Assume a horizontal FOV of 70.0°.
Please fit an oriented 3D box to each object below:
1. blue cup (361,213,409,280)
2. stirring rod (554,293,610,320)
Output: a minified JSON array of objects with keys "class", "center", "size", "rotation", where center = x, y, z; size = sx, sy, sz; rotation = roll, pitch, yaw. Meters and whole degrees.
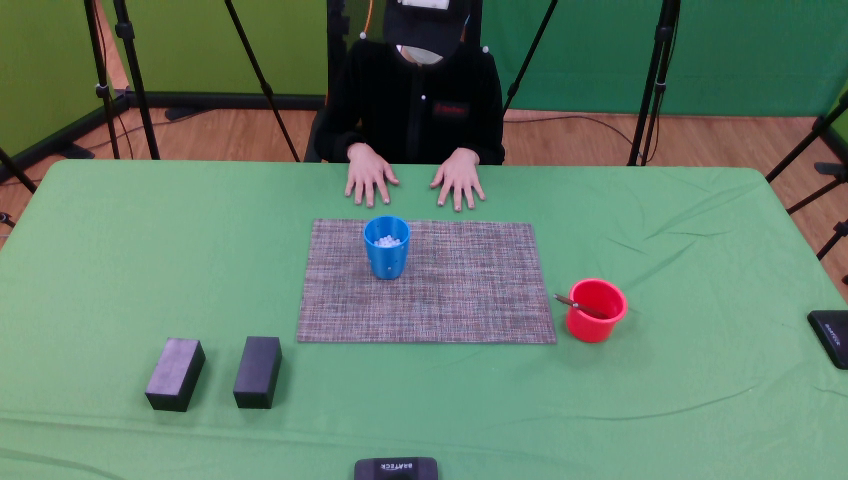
[{"class":"blue cup","center":[-0.070,0.020,1.114],"size":[0.093,0.101,0.092],"rotation":[1,46,-1]},{"class":"stirring rod","center":[0.271,0.115,1.030],"size":[0.177,0.006,0.014],"rotation":[22,26,-43]}]
